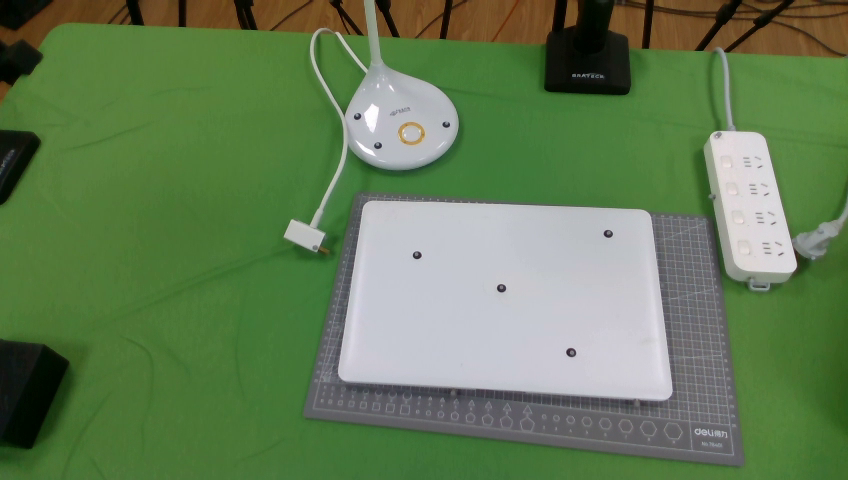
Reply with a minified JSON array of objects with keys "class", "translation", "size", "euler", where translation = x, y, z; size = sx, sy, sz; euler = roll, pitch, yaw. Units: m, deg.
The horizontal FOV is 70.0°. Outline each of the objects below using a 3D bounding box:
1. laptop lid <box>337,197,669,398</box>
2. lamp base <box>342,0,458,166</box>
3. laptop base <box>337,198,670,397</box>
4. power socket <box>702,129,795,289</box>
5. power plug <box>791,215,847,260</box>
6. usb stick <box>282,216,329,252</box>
[{"class":"laptop lid","translation":[0.088,0.055,0.689],"size":[0.356,0.013,0.239],"euler":[4,62,5]},{"class":"lamp base","translation":[-0.044,-0.215,0.780],"size":[0.160,0.182,0.177],"euler":[-30,59,-14]},{"class":"laptop base","translation":[0.089,0.059,0.701],"size":[0.354,0.023,0.233],"euler":[2,62,4]},{"class":"power socket","translation":[0.392,-0.047,0.740],"size":[0.072,0.033,0.225],"euler":[4,59,4]},{"class":"power plug","translation":[0.460,0.002,0.702],"size":[0.073,0.053,0.035],"euler":[-6,53,-19]},{"class":"usb stick","translation":[-0.141,-0.006,0.742],"size":[0.059,0.021,0.027],"euler":[29,92,-7]}]
